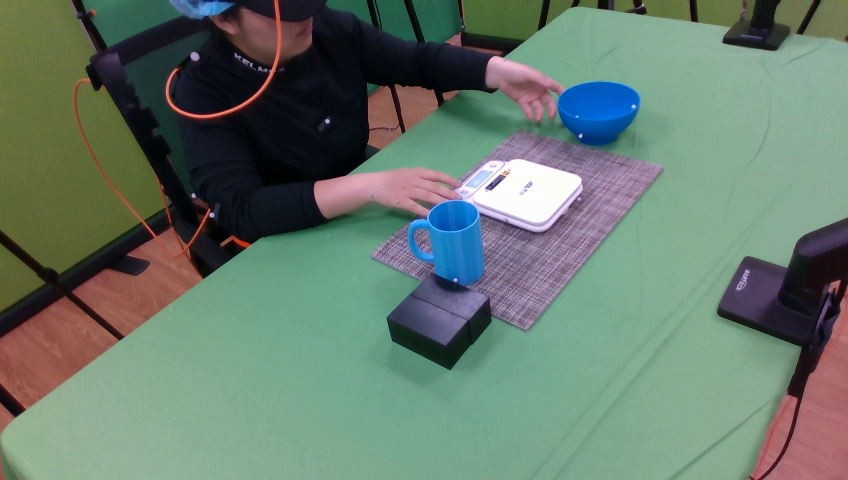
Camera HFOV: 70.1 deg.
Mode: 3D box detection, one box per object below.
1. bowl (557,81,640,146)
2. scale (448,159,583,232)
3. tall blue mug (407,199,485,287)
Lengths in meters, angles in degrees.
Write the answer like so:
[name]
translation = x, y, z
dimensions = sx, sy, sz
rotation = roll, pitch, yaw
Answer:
[bowl]
translation = 0.330, -0.233, 1.152
dimensions = 0.151, 0.077, 0.150
rotation = -5, 40, 5
[scale]
translation = 0.156, -0.085, 1.039
dimensions = 0.199, 0.032, 0.149
rotation = 22, 49, 32
[tall blue mug]
translation = 0.034, 0.008, 0.892
dimensions = 0.107, 0.108, 0.077
rotation = -13, 41, -5
